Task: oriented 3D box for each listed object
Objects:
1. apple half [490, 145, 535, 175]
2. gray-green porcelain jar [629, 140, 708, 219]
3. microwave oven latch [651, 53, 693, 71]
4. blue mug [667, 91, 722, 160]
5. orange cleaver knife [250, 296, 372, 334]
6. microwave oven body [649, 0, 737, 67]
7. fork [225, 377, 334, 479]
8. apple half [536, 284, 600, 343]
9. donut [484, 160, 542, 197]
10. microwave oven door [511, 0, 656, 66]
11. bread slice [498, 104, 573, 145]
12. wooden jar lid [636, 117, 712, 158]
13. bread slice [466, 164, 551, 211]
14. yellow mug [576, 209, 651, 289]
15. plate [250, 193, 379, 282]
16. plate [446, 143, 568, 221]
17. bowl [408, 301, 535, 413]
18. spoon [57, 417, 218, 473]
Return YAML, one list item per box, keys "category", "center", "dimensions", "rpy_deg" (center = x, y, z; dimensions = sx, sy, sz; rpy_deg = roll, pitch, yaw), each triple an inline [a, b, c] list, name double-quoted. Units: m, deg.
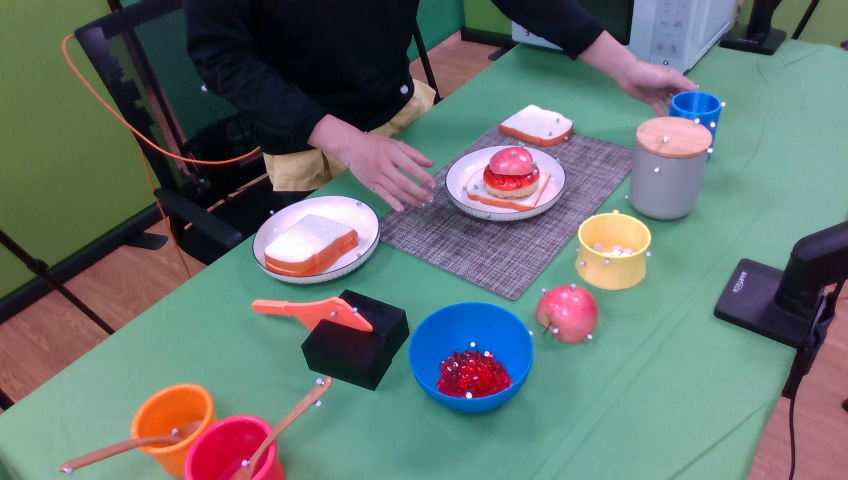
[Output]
- category: "apple half"
  center: [0.145, -0.138, 0.995]
  dimensions: [0.081, 0.033, 0.081]
  rpy_deg: [-3, 34, 2]
- category: "gray-green porcelain jar"
  center: [0.383, -0.105, 0.958]
  dimensions: [0.106, 0.127, 0.105]
  rpy_deg: [-4, 41, 4]
- category: "microwave oven latch"
  center: [0.532, -0.387, 1.301]
  dimensions: [0.078, 0.029, 0.030]
  rpy_deg: [28, 52, 35]
- category: "blue mug"
  center: [0.473, -0.207, 1.079]
  dimensions: [0.082, 0.106, 0.116]
  rpy_deg: [4, 42, 13]
- category: "orange cleaver knife"
  center: [-0.158, 0.103, 0.828]
  dimensions: [0.210, 0.078, 0.012]
  rpy_deg: [-4, 43, 39]
- category: "microwave oven body"
  center: [0.475, -0.602, 1.411]
  dimensions: [0.438, 0.261, 0.327]
  rpy_deg: [23, 50, 32]
- category: "fork"
  center: [-0.163, 0.216, 0.646]
  dimensions: [0.207, 0.019, 0.028]
  rpy_deg: [-49, 42, 16]
- category: "apple half"
  center: [0.196, 0.091, 0.815]
  dimensions: [0.075, 0.053, 0.080]
  rpy_deg: [-22, 42, -20]
- category: "donut"
  center: [0.149, -0.110, 1.015]
  dimensions: [0.099, 0.048, 0.098]
  rpy_deg: [-4, 41, 4]
- category: "microwave oven door"
  center: [0.350, -0.539, 1.348]
  dimensions: [0.353, 0.245, 0.039]
  rpy_deg: [24, 50, 31]
- category: "bread slice"
  center: [0.231, -0.231, 1.206]
  dimensions: [0.105, 0.019, 0.130]
  rpy_deg: [-36, 47, -28]
- category: "wooden jar lid"
  center: [0.377, -0.151, 0.917]
  dimensions: [0.108, 0.021, 0.108]
  rpy_deg: [-2, 41, 3]
- category: "bread slice"
  center: [0.141, -0.092, 1.043]
  dimensions: [0.134, 0.018, 0.107]
  rpy_deg: [11, 43, 18]
- category: "yellow mug"
  center: [0.279, 0.004, 0.893]
  dimensions: [0.099, 0.064, 0.130]
  rpy_deg: [6, 42, 14]
- category: "plate"
  center: [-0.174, -0.001, 0.984]
  dimensions: [0.209, 0.038, 0.208]
  rpy_deg: [-3, 40, 3]
- category: "plate"
  center: [0.142, -0.097, 1.045]
  dimensions: [0.207, 0.039, 0.206]
  rpy_deg: [-4, 40, 4]
- category: "bowl"
  center: [0.060, 0.156, 0.739]
  dimensions: [0.151, 0.077, 0.150]
  rpy_deg: [-4, 40, 4]
- category: "spoon"
  center: [-0.304, 0.221, 0.661]
  dimensions: [0.041, 0.195, 0.021]
  rpy_deg: [19, 92, 27]
